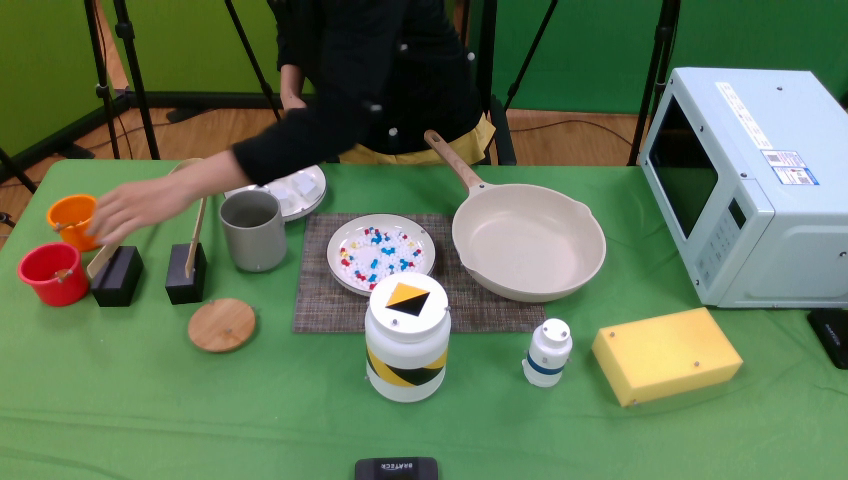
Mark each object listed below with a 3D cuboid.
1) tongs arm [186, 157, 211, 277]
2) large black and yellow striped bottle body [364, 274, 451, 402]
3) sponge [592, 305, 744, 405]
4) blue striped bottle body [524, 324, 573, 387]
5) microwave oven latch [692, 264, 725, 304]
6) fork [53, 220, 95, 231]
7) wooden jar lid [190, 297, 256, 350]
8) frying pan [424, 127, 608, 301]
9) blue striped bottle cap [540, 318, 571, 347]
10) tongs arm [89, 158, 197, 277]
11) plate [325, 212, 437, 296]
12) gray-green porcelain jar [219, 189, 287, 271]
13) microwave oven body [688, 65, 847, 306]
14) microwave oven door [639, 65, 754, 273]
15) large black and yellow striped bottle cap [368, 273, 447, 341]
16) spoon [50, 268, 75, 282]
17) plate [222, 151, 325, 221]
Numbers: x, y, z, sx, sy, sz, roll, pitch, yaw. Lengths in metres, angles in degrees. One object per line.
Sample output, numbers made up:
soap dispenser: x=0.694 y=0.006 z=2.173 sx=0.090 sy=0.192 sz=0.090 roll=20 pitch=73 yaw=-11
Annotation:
tongs arm: x=-0.445 y=-0.058 z=1.168 sx=0.051 sy=0.026 sz=0.382 roll=-4 pitch=37 yaw=-6
large black and yellow striped bottle body: x=-0.026 y=0.151 z=0.937 sx=0.131 sy=0.185 sz=0.130 roll=2 pitch=47 yaw=-2
sponge: x=0.405 y=0.190 z=1.015 sx=0.207 sy=0.061 sz=0.117 roll=-10 pitch=48 yaw=-13
blue striped bottle body: x=0.200 y=0.178 z=0.970 sx=0.063 sy=0.121 sz=0.062 roll=2 pitch=46 yaw=-2
microwave oven latch: x=0.522 y=0.081 z=1.116 sx=0.030 sy=0.029 sz=0.078 roll=1 pitch=46 yaw=-2
fork: x=-0.627 y=-0.026 z=1.086 sx=0.028 sy=0.207 sz=0.018 roll=0 pitch=91 yaw=-15
wooden jar lid: x=-0.342 y=0.145 z=1.033 sx=0.108 sy=0.021 sz=0.107 roll=2 pitch=45 yaw=-2
frying pan: x=0.143 y=-0.070 z=1.209 sx=0.307 sy=0.103 sz=0.485 roll=-23 pitch=60 yaw=-25
blue striped bottle cap: x=0.203 y=0.142 z=0.933 sx=0.044 sy=0.021 sz=0.044 roll=3 pitch=49 yaw=-4
tongs arm: x=-0.530 y=-0.058 z=1.163 sx=0.028 sy=0.028 sz=0.385 roll=1 pitch=36 yaw=7
plate: x=-0.080 y=0.030 z=1.143 sx=0.209 sy=0.038 sz=0.208 roll=3 pitch=46 yaw=-2
gray-green porcelain jar: x=-0.309 y=-0.014 z=1.113 sx=0.106 sy=0.127 sz=0.105 roll=2 pitch=46 yaw=-2
microwave oven body: x=0.669 y=-0.111 z=1.176 sx=0.326 sy=0.261 sz=0.439 roll=0 pitch=46 yaw=-3
microwave oven door: x=0.522 y=-0.147 z=1.193 sx=0.039 sy=0.245 sz=0.353 roll=0 pitch=47 yaw=-3
large black and yellow striped bottle cap: x=-0.023 y=0.094 z=0.875 sx=0.115 sy=0.019 sz=0.114 roll=2 pitch=45 yaw=-2
spoon: x=-0.604 y=0.057 z=1.012 sx=0.041 sy=0.193 sz=0.021 roll=-28 pitch=99 yaw=-30
plate: x=-0.310 y=-0.106 z=1.263 sx=0.208 sy=0.039 sz=0.206 roll=2 pitch=47 yaw=-2
